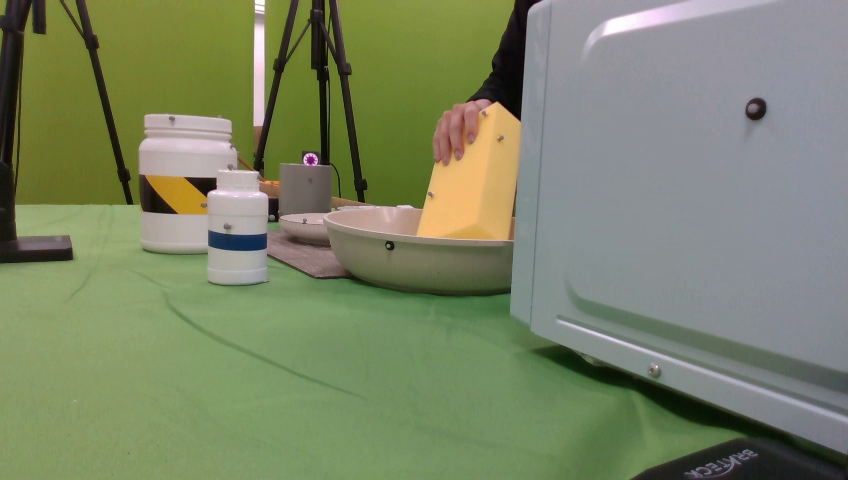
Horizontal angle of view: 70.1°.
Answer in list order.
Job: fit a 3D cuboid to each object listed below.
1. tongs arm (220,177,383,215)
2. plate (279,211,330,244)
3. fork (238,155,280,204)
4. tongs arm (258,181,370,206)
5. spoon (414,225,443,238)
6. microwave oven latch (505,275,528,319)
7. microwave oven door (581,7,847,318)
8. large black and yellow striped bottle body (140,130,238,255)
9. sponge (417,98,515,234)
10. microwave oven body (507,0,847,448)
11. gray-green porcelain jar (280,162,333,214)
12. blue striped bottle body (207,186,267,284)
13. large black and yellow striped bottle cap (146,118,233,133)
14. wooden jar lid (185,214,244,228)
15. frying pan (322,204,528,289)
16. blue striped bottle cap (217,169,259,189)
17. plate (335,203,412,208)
[{"bbox_3d":[-0.285,-0.103,1.445,0.389,0.027,0.028,9,-4,-23],"label":"tongs arm"},{"bbox_3d":[-0.139,-0.022,1.021,0.209,0.038,0.209,2,8,0],"label":"plate"},{"bbox_3d":[-0.396,-0.143,1.487,0.028,0.018,0.208,20,-26,45],"label":"fork"},{"bbox_3d":[-0.241,-0.095,1.373,0.387,0.026,0.050,9,-1,-37],"label":"tongs arm"},{"bbox_3d":[0.016,-0.020,1.113,0.041,0.021,0.194,-14,3,12],"label":"spoon"},{"bbox_3d":[0.100,0.042,0.471,0.079,0.029,0.030,-2,8,-29],"label":"microwave oven latch"},{"bbox_3d":[0.295,-0.067,0.569,0.358,0.243,0.039,-3,8,-31],"label":"microwave oven door"},{"bbox_3d":[-0.336,-0.078,0.871,0.131,0.184,0.130,2,8,0],"label":"large black and yellow striped bottle body"},{"bbox_3d":[0.065,-0.082,0.832,0.061,0.206,0.118,33,-37,-29],"label":"sponge"},{"bbox_3d":[0.331,-0.042,0.425,0.444,0.260,0.324,-2,8,-31],"label":"microwave oven body"},{"bbox_3d":[-0.238,-0.092,1.221,0.106,0.126,0.106,2,7,0],"label":"gray-green porcelain jar"},{"bbox_3d":[-0.204,-0.016,0.663,0.063,0.120,0.063,2,7,0],"label":"blue striped bottle body"},{"bbox_3d":[-0.333,-0.163,0.860,0.115,0.019,0.115,1,9,0],"label":"large black and yellow striped bottle cap"},{"bbox_3d":[-0.404,-0.037,1.169,0.108,0.020,0.108,3,7,0],"label":"wooden jar lid"},{"bbox_3d":[0.109,-0.018,0.800,0.490,0.102,0.305,-12,16,-30],"label":"frying pan"},{"bbox_3d":[-0.202,-0.067,0.656,0.044,0.020,0.044,0,10,0],"label":"blue striped bottle cap"},{"bbox_3d":[-0.089,-0.053,1.309,0.208,0.039,0.207,2,8,0],"label":"plate"}]
